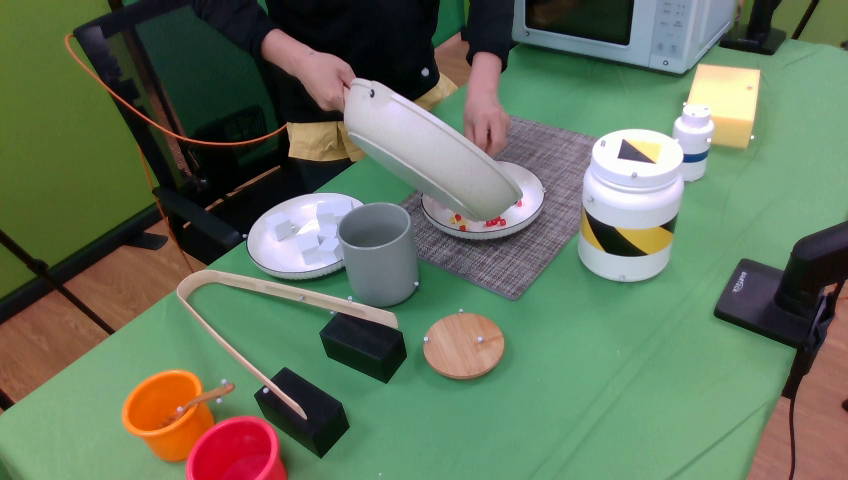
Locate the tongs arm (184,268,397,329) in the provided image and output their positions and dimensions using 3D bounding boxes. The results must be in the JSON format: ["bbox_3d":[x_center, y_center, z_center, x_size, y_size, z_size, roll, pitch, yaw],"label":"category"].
[{"bbox_3d":[-0.202,0.084,0.848,0.382,0.027,0.051,11,45,34],"label":"tongs arm"}]

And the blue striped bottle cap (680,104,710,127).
[{"bbox_3d":[0.443,-0.205,0.989,0.044,0.021,0.044,-1,41,2],"label":"blue striped bottle cap"}]

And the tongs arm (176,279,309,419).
[{"bbox_3d":[-0.254,0.133,0.801,0.028,0.028,0.384,-41,41,-23],"label":"tongs arm"}]

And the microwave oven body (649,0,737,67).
[{"bbox_3d":[0.475,-0.602,1.411,0.438,0.261,0.327,23,50,32],"label":"microwave oven body"}]

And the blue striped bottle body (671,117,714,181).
[{"bbox_3d":[0.449,-0.165,1.022,0.063,0.121,0.063,-5,41,4],"label":"blue striped bottle body"}]

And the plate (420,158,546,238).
[{"bbox_3d":[0.099,-0.068,1.017,0.209,0.038,0.208,-4,40,4],"label":"plate"}]

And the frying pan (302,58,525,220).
[{"bbox_3d":[-0.057,-0.176,0.922,0.102,0.309,0.483,-49,54,4],"label":"frying pan"}]

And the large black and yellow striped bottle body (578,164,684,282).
[{"bbox_3d":[0.291,-0.046,0.858,0.131,0.185,0.130,-4,41,4],"label":"large black and yellow striped bottle body"}]

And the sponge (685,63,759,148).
[{"bbox_3d":[0.569,-0.263,1.164,0.117,0.061,0.207,12,45,22],"label":"sponge"}]

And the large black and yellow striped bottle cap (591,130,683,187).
[{"bbox_3d":[0.282,-0.111,0.803,0.115,0.019,0.114,-3,41,3],"label":"large black and yellow striped bottle cap"}]

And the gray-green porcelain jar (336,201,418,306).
[{"bbox_3d":[-0.064,0.024,0.872,0.106,0.127,0.105,-4,40,4],"label":"gray-green porcelain jar"}]

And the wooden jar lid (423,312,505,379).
[{"bbox_3d":[0.053,0.142,0.800,0.108,0.021,0.108,-5,39,4],"label":"wooden jar lid"}]

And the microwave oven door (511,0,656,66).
[{"bbox_3d":[0.351,-0.540,1.349,0.353,0.245,0.039,24,50,31],"label":"microwave oven door"}]

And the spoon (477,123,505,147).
[{"bbox_3d":[0.079,-0.152,1.009,0.194,0.042,0.021,-35,20,-31],"label":"spoon"}]

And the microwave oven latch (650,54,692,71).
[{"bbox_3d":[0.531,-0.386,1.301,0.078,0.029,0.030,25,51,32],"label":"microwave oven latch"}]

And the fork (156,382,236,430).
[{"bbox_3d":[-0.262,0.189,0.690,0.018,0.206,0.028,49,43,-7],"label":"fork"}]

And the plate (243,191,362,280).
[{"bbox_3d":[-0.188,-0.005,0.992,0.207,0.039,0.206,-3,41,3],"label":"plate"}]
